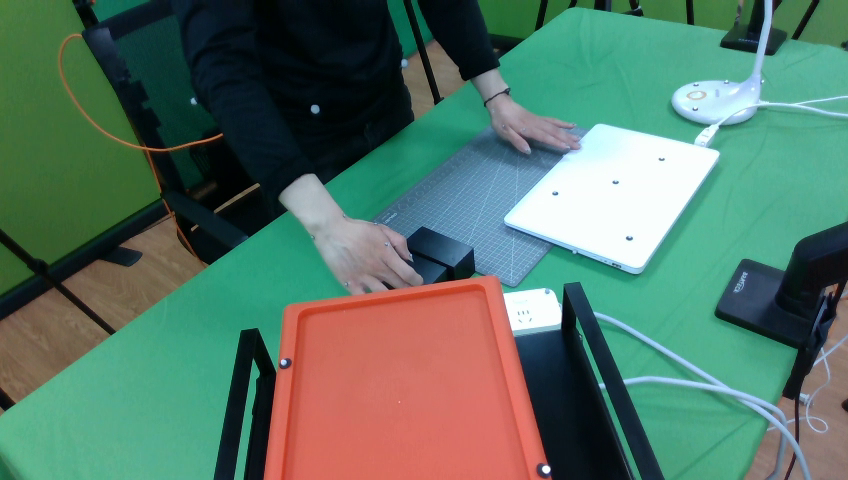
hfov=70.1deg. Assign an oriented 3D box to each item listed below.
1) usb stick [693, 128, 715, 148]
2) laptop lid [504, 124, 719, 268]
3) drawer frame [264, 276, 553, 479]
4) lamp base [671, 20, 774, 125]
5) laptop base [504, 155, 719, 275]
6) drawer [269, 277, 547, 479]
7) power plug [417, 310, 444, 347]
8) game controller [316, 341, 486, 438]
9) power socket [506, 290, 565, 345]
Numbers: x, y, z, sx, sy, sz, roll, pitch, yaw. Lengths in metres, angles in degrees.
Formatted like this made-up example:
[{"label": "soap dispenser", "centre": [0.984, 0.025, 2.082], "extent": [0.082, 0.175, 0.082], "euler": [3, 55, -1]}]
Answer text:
[{"label": "usb stick", "centre": [0.502, -0.176, 1.092], "extent": [0.021, 0.027, 0.059], "euler": [29, 55, 28]}, {"label": "laptop lid", "centre": [0.323, -0.093, 1.021], "extent": [0.240, 0.013, 0.358], "euler": [23, 49, 32]}, {"label": "drawer frame", "centre": [-0.016, 0.137, 0.490], "extent": [0.202, 0.083, 0.212], "euler": [-8, 41, -1]}, {"label": "lamp base", "centre": [0.581, -0.332, 1.154], "extent": [0.179, 0.181, 0.160], "euler": [2, 41, 7]}, {"label": "laptop base", "centre": [0.326, -0.083, 1.028], "extent": [0.233, 0.023, 0.355], "euler": [21, 48, 32]}, {"label": "drawer", "centre": [-0.018, 0.137, 0.493], "extent": [0.195, 0.073, 0.210], "euler": [-7, 41, -1]}, {"label": "power plug", "centre": [0.007, 0.123, 0.784], "extent": [0.035, 0.053, 0.072], "euler": [-1, 42, 8]}, {"label": "game controller", "centre": [-0.021, 0.120, 0.534], "extent": [0.155, 0.052, 0.096], "euler": [-3, 37, 0]}, {"label": "power socket", "centre": [0.081, 0.112, 0.822], "extent": [0.227, 0.033, 0.072], "euler": [-7, 40, 0]}]
